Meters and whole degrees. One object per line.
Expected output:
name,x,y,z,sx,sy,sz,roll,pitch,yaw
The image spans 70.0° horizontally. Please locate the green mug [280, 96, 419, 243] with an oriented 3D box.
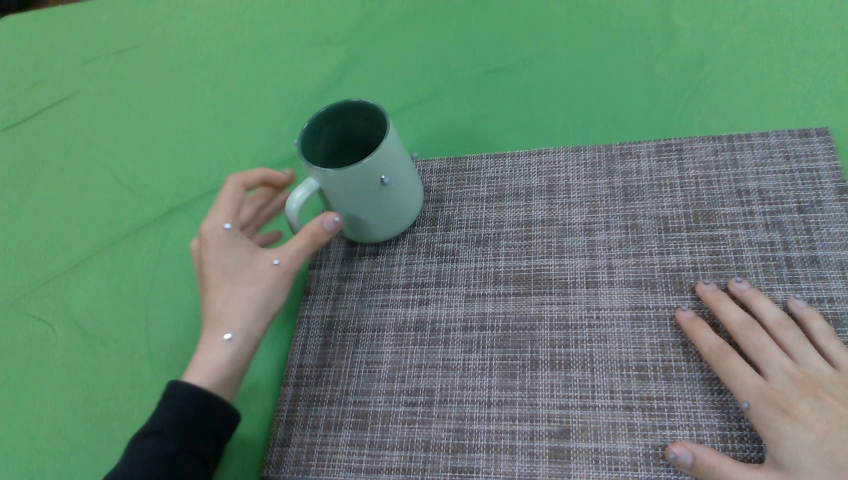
green mug,-0.069,-0.048,0.524,0.091,0.106,0.125,35,72,30
